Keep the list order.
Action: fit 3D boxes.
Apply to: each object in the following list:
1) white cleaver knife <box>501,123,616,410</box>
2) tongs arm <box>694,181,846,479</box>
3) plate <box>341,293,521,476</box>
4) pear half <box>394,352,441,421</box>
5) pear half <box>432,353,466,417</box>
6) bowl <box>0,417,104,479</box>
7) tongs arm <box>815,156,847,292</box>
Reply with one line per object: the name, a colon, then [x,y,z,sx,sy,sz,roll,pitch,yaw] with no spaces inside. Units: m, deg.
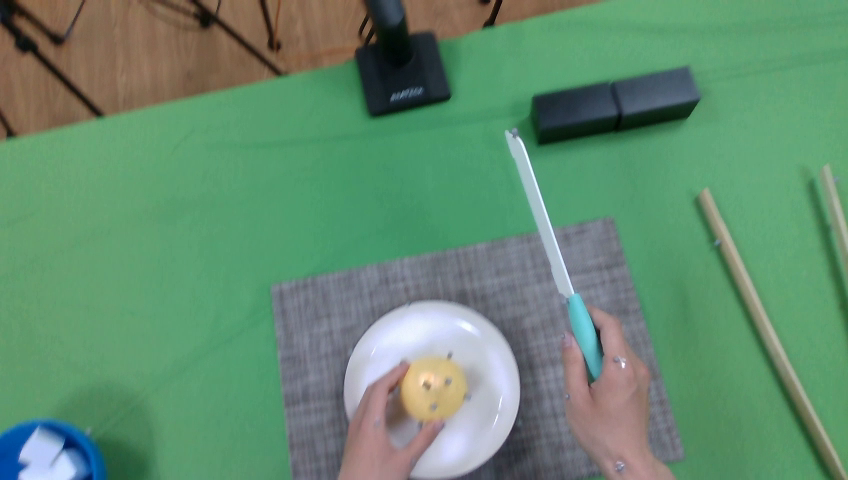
white cleaver knife: [0.124,0.028,0.554,0.021,0.065,0.287,-19,103,2]
tongs arm: [0.406,0.103,0.711,0.028,0.028,0.385,-18,73,-2]
plate: [0.008,0.167,0.714,0.207,0.039,0.206,-1,74,4]
pear half: [-0.008,0.160,0.670,0.056,0.110,0.076,-7,68,3]
pear half: [0.030,0.160,0.677,0.031,0.088,0.070,-12,69,6]
bowl: [-0.431,0.282,0.698,0.151,0.077,0.150,-1,74,4]
tongs arm: [0.486,0.086,0.703,0.051,0.027,0.382,-6,75,5]
